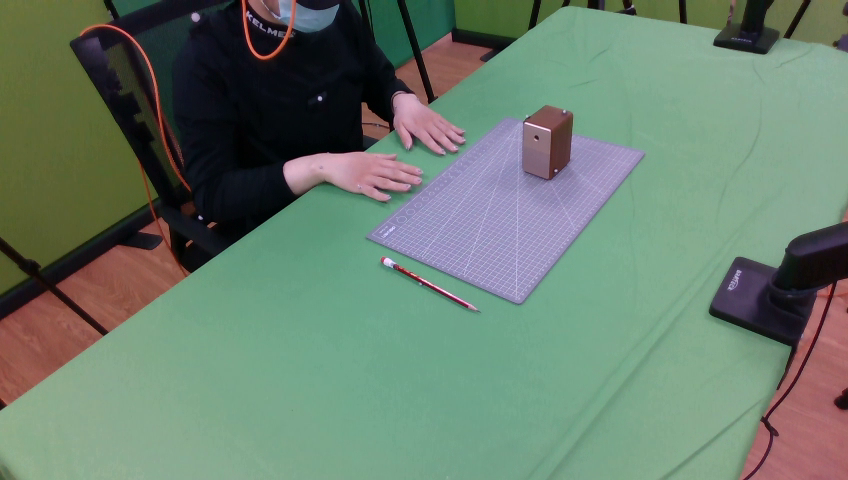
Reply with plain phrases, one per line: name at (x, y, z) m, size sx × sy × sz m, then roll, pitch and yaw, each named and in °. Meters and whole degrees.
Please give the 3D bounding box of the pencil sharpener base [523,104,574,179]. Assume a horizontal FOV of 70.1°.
pencil sharpener base at (0.220, -0.175, 1.071) m, size 0.061 × 0.107 × 0.077 m, roll 26°, pitch 50°, yaw 33°

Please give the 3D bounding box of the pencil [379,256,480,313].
pencil at (0.005, 0.066, 0.901) m, size 0.192 × 0.012 × 0.012 m, roll 26°, pitch 50°, yaw 31°

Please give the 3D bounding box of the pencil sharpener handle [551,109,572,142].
pencil sharpener handle at (0.253, -0.212, 1.090) m, size 0.035 × 0.068 × 0.031 m, roll 22°, pitch 48°, yaw 36°
